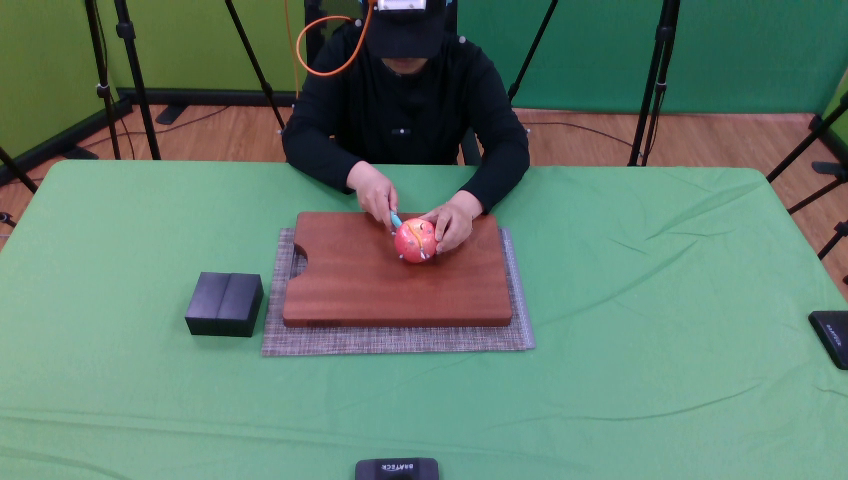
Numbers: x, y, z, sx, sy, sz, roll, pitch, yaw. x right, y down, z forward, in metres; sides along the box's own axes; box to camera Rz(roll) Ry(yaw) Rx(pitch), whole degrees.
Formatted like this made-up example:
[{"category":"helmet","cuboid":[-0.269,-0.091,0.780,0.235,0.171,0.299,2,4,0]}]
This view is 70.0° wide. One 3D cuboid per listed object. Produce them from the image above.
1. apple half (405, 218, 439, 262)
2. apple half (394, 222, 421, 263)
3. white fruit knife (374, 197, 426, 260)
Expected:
[{"category":"apple half","cuboid":[-0.001,-0.002,1.126,0.053,0.075,0.080,-19,46,-26]},{"category":"apple half","cuboid":[-0.036,0.012,1.109,0.033,0.081,0.081,-21,51,-22]},{"category":"white fruit knife","cuboid":[-0.045,-0.025,1.141,0.016,0.027,0.206,-19,45,-23]}]
